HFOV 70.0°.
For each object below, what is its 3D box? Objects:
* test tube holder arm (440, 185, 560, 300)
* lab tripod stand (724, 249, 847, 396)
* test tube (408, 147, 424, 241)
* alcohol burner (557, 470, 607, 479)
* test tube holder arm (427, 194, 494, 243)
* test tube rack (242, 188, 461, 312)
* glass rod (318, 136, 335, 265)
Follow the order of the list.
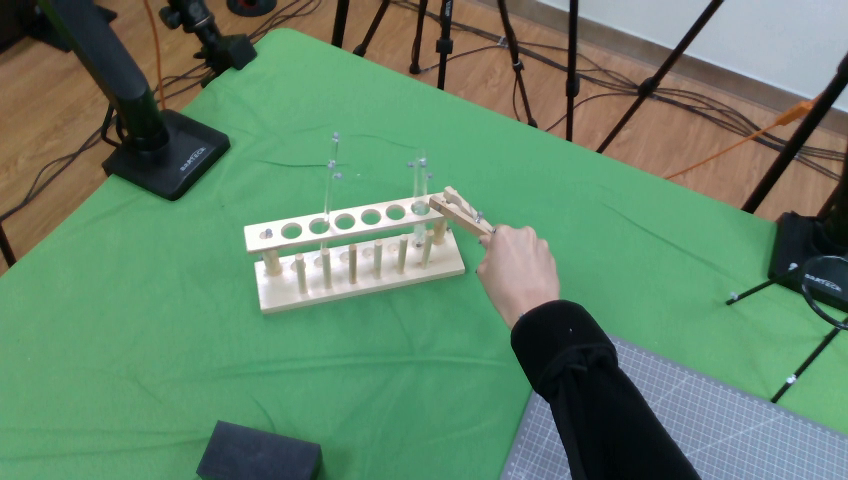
[{"bbox_3d":[0.074,-0.001,0.619,0.013,0.015,0.176,-33,58,-22],"label":"test tube holder arm"},{"bbox_3d":[0.421,0.086,0.668,0.148,0.132,0.147,3,57,-4],"label":"lab tripod stand"},{"bbox_3d":[-0.009,-0.047,0.686,0.017,0.151,0.017,1,53,0],"label":"test tube"},{"bbox_3d":[0.151,0.243,0.544,0.078,0.120,0.077,4,55,-5],"label":"alcohol burner"},{"bbox_3d":[0.039,-0.023,0.638,0.087,0.015,0.010,31,58,23],"label":"test tube holder arm"},{"bbox_3d":[-0.077,0.011,0.701,0.243,0.086,0.066,-11,58,-12],"label":"test tube rack"},{"bbox_3d":[-0.106,-0.034,0.649,0.008,0.201,0.008,7,49,-8],"label":"glass rod"}]
